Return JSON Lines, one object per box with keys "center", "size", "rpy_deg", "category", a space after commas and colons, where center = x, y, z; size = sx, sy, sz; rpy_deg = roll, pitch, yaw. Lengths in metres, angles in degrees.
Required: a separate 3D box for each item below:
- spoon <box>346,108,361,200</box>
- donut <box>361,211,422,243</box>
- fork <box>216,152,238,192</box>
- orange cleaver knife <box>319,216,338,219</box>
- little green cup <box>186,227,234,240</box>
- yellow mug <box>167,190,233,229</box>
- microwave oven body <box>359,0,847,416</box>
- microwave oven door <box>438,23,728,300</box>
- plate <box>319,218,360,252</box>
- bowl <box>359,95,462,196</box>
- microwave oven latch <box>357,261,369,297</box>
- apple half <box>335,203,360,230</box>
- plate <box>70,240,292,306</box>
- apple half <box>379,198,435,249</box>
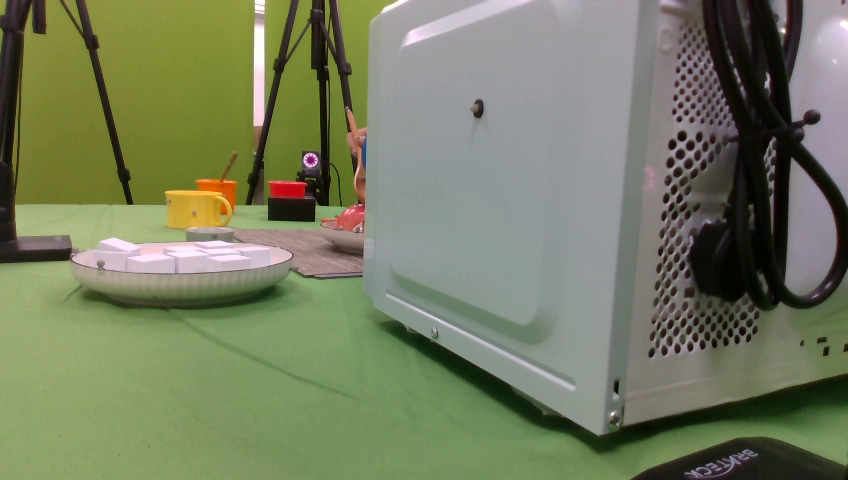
{"center": [-0.108, -0.138, 0.977], "size": [0.021, 0.193, 0.042], "rpy_deg": [-20, -29, 20], "category": "spoon"}
{"center": [-0.050, -0.019, 0.958], "size": [0.099, 0.048, 0.099], "rpy_deg": [6, 6, 0], "category": "donut"}
{"center": [-0.455, -0.132, 1.367], "size": [0.028, 0.018, 0.207], "rpy_deg": [-3, -35, -38], "category": "fork"}
{"center": [-0.142, -0.057, 1.394], "size": [0.077, 0.012, 0.212], "rpy_deg": [2, 7, 44], "category": "orange cleaver knife"}
{"center": [-0.285, 0.005, 0.805], "size": [0.061, 0.038, 0.061], "rpy_deg": [2, 8, 0], "category": "little green cup"}
{"center": [-0.415, -0.057, 1.132], "size": [0.130, 0.064, 0.100], "rpy_deg": [6, 8, 16], "category": "yellow mug"}
{"center": [0.211, -0.047, 0.474], "size": [0.444, 0.260, 0.324], "rpy_deg": [-1, 7, -28], "category": "microwave oven body"}
{"center": [0.181, -0.072, 0.621], "size": [0.358, 0.243, 0.039], "rpy_deg": [-2, 8, -29], "category": "microwave oven door"}
{"center": [-0.059, -0.007, 0.939], "size": [0.209, 0.038, 0.209], "rpy_deg": [3, 8, 0], "category": "plate"}
{"center": [-0.005, -0.113, 0.830], "size": [0.152, 0.151, 0.076], "rpy_deg": [-3, 44, -33], "category": "bowl"}
{"center": [-0.019, 0.033, 0.531], "size": [0.079, 0.029, 0.030], "rpy_deg": [-1, 7, -27], "category": "microwave oven latch"}
{"center": [-0.116, -0.038, 0.960], "size": [0.081, 0.033, 0.081], "rpy_deg": [-38, 8, 7], "category": "apple half"}
{"center": [-0.242, 0.032, 0.618], "size": [0.208, 0.039, 0.207], "rpy_deg": [2, 8, 0], "category": "plate"}
{"center": [-0.020, -0.030, 0.890], "size": [0.081, 0.053, 0.074], "rpy_deg": [-2, 49, -26], "category": "apple half"}
